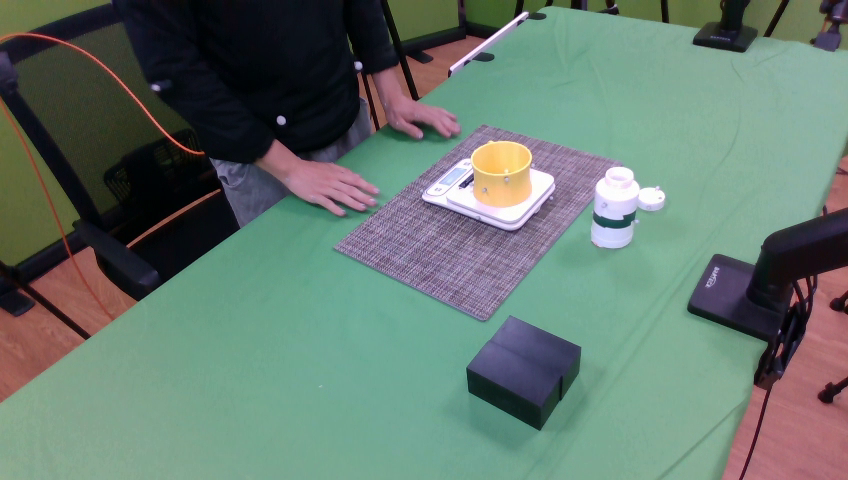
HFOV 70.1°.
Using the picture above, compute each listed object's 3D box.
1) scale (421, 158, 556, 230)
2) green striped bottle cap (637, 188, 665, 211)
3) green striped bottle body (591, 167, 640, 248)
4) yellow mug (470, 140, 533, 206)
[{"bbox_3d":[0.110,-0.089,1.042,0.199,0.032,0.149,23,48,31],"label":"scale"},{"bbox_3d":[0.374,-0.067,0.998,0.044,0.020,0.044,-7,39,6],"label":"green striped bottle cap"},{"bbox_3d":[0.288,-0.050,0.910,0.063,0.120,0.063,-4,41,4],"label":"green striped bottle body"},{"bbox_3d":[0.124,-0.121,1.004,0.100,0.064,0.130,-13,41,-5],"label":"yellow mug"}]
